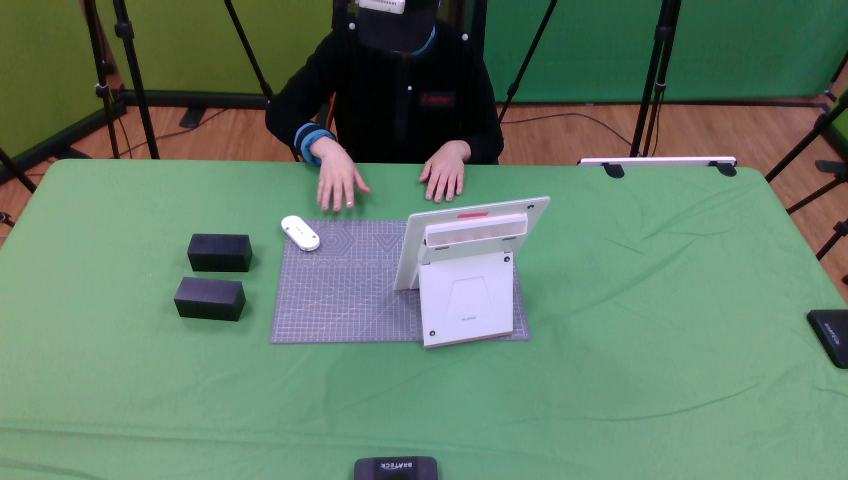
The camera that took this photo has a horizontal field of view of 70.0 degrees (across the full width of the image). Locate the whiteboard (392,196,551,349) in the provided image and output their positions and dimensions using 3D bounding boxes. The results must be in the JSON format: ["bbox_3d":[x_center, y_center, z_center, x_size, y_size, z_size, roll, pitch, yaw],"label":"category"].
[{"bbox_3d":[0.077,0.071,0.977,0.217,0.306,0.143,-7,67,-11],"label":"whiteboard"}]

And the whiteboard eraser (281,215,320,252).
[{"bbox_3d":[-0.244,-0.015,1.191,0.041,0.019,0.100,-30,56,-29],"label":"whiteboard eraser"}]
